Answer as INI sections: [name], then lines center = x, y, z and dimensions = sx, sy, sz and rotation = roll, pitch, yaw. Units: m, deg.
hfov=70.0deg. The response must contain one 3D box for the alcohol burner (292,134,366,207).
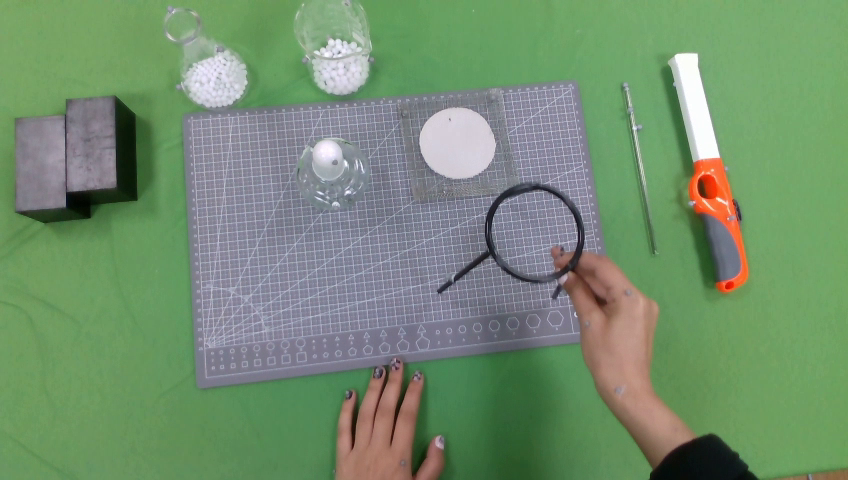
[alcohol burner]
center = -0.098, -0.075, 0.616
dimensions = 0.078, 0.119, 0.077
rotation = 1, 81, -4

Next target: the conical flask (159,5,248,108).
[conical flask]
center = -0.233, -0.193, 0.627
dimensions = 0.075, 0.122, 0.075
rotation = 1, 80, -3

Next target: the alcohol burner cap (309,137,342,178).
[alcohol burner cap]
center = -0.095, -0.082, 0.581
dimensions = 0.034, 0.048, 0.033
rotation = 2, 79, -9

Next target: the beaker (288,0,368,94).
[beaker]
center = -0.095, -0.205, 0.649
dimensions = 0.084, 0.100, 0.074
rotation = 29, 80, 2

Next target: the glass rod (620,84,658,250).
[glass rod]
center = 0.245, -0.086, 0.692
dimensions = 0.008, 0.008, 0.199
rotation = -7, 80, -5

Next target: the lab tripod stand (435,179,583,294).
[lab tripod stand]
center = 0.084, 0.006, 0.587
dimensions = 0.149, 0.131, 0.148
rotation = 1, 79, -7

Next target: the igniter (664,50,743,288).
[igniter]
center = 0.316, -0.084, 0.687
dimensions = 0.057, 0.025, 0.275
rotation = -6, 81, -15

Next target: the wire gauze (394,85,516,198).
[wire gauze]
center = 0.036, -0.111, 0.684
dimensions = 0.125, 0.011, 0.121
rotation = -8, 82, -7
